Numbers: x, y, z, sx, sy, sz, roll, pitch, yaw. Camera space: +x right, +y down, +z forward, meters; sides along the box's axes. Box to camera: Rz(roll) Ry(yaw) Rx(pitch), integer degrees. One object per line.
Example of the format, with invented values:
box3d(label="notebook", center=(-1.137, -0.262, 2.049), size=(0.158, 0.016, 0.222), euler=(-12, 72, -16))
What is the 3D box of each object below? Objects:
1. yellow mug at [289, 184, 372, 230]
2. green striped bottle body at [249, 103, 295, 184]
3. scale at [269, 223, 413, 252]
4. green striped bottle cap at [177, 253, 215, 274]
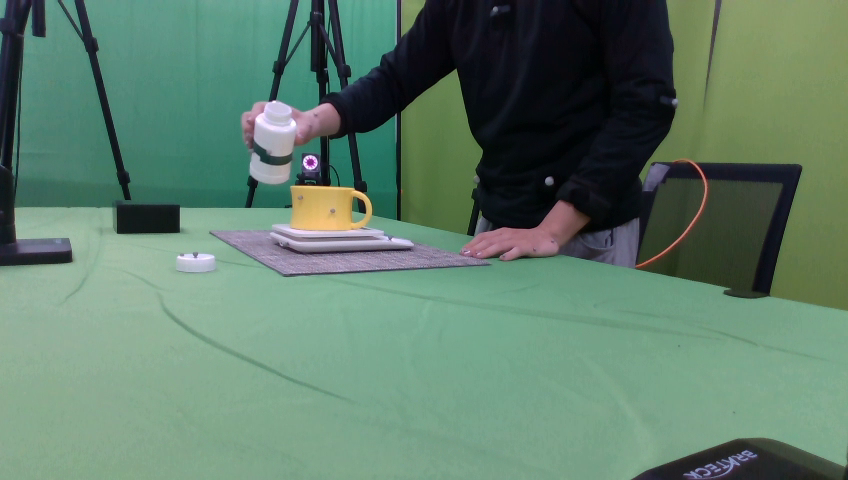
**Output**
box3d(label="yellow mug", center=(-0.145, -0.052, 0.944), size=(0.131, 0.064, 0.100), euler=(4, 7, 9))
box3d(label="green striped bottle body", center=(-0.239, -0.154, 0.951), size=(0.063, 0.119, 0.063), euler=(12, 35, -8))
box3d(label="scale", center=(-0.132, -0.007, 0.965), size=(0.202, 0.031, 0.148), euler=(-2, 8, -31))
box3d(label="green striped bottle cap", center=(-0.279, 0.028, 0.741), size=(0.044, 0.020, 0.044), euler=(4, 6, 0))
